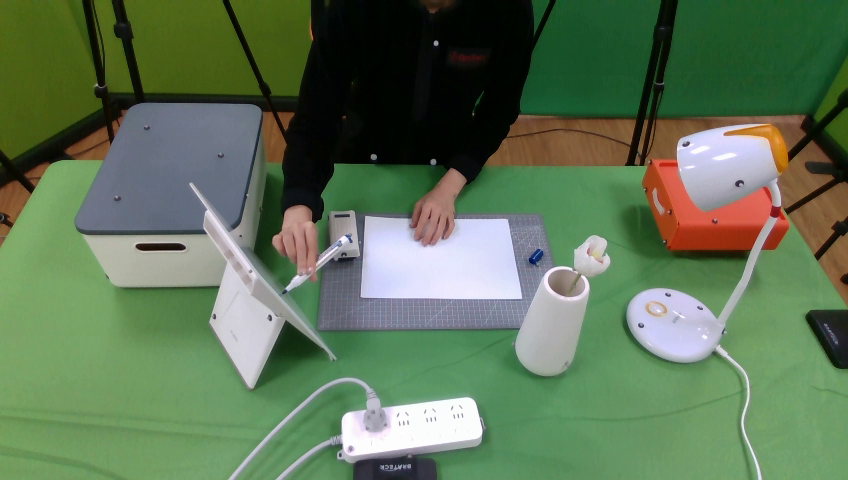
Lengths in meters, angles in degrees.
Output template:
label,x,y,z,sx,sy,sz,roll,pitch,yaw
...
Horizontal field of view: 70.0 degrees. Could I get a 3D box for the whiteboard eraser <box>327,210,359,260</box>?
label,x,y,z,sx,sy,sz,roll,pitch,yaw
whiteboard eraser,-0.159,-0.009,1.177,0.055,0.042,0.112,-6,47,-7

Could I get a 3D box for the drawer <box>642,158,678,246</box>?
label,x,y,z,sx,sy,sz,roll,pitch,yaw
drawer,0.565,-0.076,1.211,0.212,0.073,0.193,2,45,-2

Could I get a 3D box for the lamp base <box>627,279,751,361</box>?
label,x,y,z,sx,sy,sz,roll,pitch,yaw
lamp base,0.459,0.100,1.027,0.178,0.181,0.160,27,51,17

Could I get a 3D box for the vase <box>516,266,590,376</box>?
label,x,y,z,sx,sy,sz,roll,pitch,yaw
vase,0.208,0.132,0.964,0.098,0.201,0.097,3,46,-3

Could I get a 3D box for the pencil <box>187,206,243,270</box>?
label,x,y,z,sx,sy,sz,roll,pitch,yaw
pencil,-0.401,-0.008,1.176,0.012,0.012,0.193,15,44,10

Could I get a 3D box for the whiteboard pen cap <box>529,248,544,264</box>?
label,x,y,z,sx,sy,sz,roll,pitch,yaw
whiteboard pen cap,0.219,0.032,1.183,0.018,0.018,0.033,31,51,23

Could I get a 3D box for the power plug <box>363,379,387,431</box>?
label,x,y,z,sx,sy,sz,roll,pitch,yaw
power plug,-0.072,0.252,0.910,0.035,0.053,0.072,3,45,-1

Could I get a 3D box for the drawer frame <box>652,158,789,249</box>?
label,x,y,z,sx,sy,sz,roll,pitch,yaw
drawer frame,0.571,-0.075,1.214,0.214,0.083,0.200,0,45,-1

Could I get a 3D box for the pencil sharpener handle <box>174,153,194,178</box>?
label,x,y,z,sx,sy,sz,roll,pitch,yaw
pencil sharpener handle,-0.479,-0.156,1.225,0.036,0.068,0.030,24,48,2

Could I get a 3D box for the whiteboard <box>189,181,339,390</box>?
label,x,y,z,sx,sy,sz,roll,pitch,yaw
whiteboard,-0.292,0.096,0.929,0.144,0.307,0.216,-37,57,-10

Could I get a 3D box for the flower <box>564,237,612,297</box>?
label,x,y,z,sx,sy,sz,roll,pitch,yaw
flower,0.206,0.088,0.893,0.038,0.363,0.044,-16,67,-9

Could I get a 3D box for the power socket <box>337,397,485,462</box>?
label,x,y,z,sx,sy,sz,roll,pitch,yaw
power socket,-0.018,0.285,0.915,0.227,0.033,0.071,-5,46,-8

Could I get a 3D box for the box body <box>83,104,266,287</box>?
label,x,y,z,sx,sy,sz,roll,pitch,yaw
box body,-0.447,-0.088,1.150,0.254,0.161,0.361,-1,46,-5

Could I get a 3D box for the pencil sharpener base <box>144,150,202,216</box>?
label,x,y,z,sx,sy,sz,roll,pitch,yaw
pencil sharpener base,-0.493,-0.113,1.199,0.061,0.107,0.076,15,47,12

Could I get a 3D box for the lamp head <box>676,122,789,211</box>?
label,x,y,z,sx,sy,sz,roll,pitch,yaw
lamp head,0.423,-0.104,0.819,0.122,0.113,0.112,-13,33,40

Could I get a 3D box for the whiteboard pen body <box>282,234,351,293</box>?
label,x,y,z,sx,sy,sz,roll,pitch,yaw
whiteboard pen body,-0.168,0.037,0.945,0.017,0.017,0.140,35,62,26

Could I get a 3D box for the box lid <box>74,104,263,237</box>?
label,x,y,z,sx,sy,sz,roll,pitch,yaw
box lid,-0.443,-0.139,1.095,0.263,0.015,0.369,-1,45,-5
